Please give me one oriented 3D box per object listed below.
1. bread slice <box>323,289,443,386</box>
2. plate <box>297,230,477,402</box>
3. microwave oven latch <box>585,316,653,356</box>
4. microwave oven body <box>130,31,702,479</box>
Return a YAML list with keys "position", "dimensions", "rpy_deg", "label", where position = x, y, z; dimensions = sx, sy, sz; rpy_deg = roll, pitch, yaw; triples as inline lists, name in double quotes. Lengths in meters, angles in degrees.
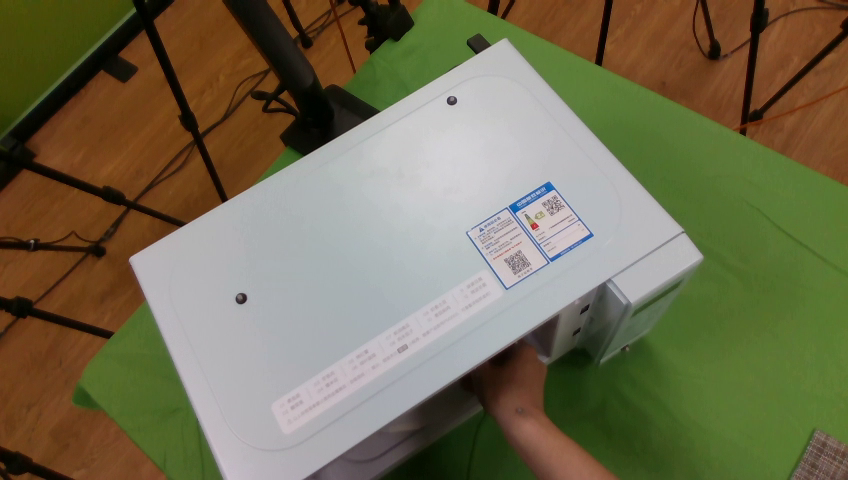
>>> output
- position: [-0.049, 0.112, 0.709]
  dimensions: [0.134, 0.018, 0.106]
  rpy_deg: [6, 65, 0]
  label: "bread slice"
- position: [-0.042, 0.088, 0.711]
  dimensions: [0.207, 0.039, 0.206]
  rpy_deg: [-1, 65, 2]
  label: "plate"
- position: [0.228, 0.103, 0.709]
  dimensions: [0.079, 0.030, 0.030]
  rpy_deg: [-31, 67, -5]
  label: "microwave oven latch"
- position: [-0.012, 0.048, 0.660]
  dimensions: [0.442, 0.262, 0.323]
  rpy_deg: [-32, 67, -6]
  label: "microwave oven body"
